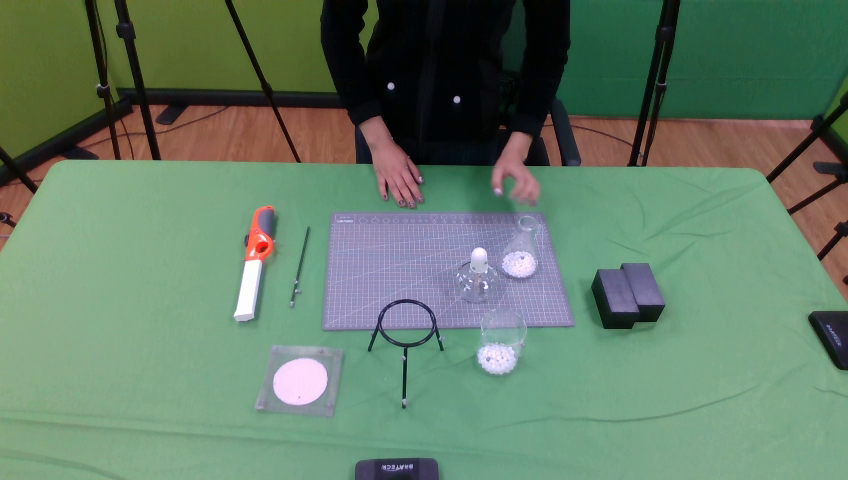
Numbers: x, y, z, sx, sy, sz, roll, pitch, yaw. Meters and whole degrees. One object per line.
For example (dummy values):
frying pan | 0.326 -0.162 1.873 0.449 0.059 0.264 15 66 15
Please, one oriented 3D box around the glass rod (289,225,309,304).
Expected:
glass rod | -0.235 0.043 1.149 0.008 0.008 0.198 3 46 -1

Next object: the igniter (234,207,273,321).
igniter | -0.319 0.035 1.137 0.057 0.025 0.274 -7 46 3

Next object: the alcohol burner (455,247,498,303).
alcohol burner | 0.095 0.057 1.085 0.078 0.120 0.077 1 47 -1

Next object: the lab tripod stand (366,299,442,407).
lab tripod stand | -0.028 0.165 0.960 0.148 0.132 0.147 2 44 -2

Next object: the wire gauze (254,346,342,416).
wire gauze | -0.201 0.223 0.978 0.125 0.011 0.121 4 45 1

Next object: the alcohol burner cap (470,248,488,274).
alcohol burner cap | 0.095 0.034 1.057 0.034 0.048 0.033 -3 52 4

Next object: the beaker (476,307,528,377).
beaker | 0.122 0.171 0.991 0.084 0.101 0.073 -34 56 -31

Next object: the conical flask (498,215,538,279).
conical flask | 0.183 0.010 1.131 0.075 0.122 0.075 2 46 -2
